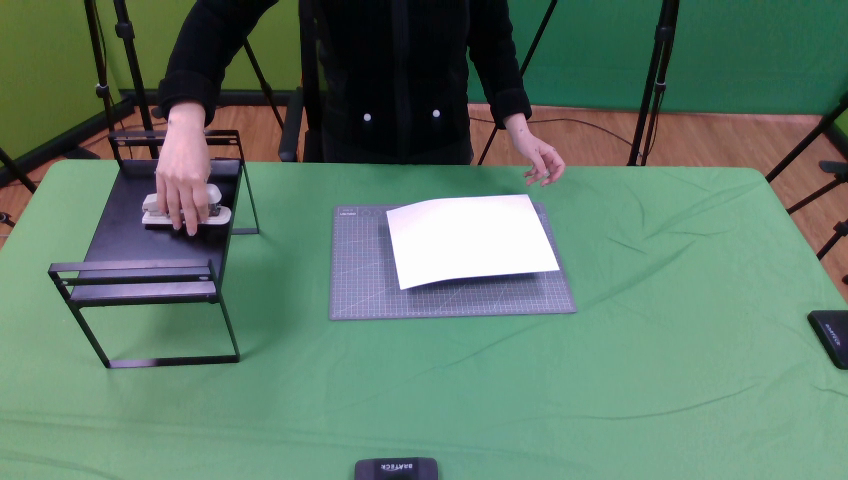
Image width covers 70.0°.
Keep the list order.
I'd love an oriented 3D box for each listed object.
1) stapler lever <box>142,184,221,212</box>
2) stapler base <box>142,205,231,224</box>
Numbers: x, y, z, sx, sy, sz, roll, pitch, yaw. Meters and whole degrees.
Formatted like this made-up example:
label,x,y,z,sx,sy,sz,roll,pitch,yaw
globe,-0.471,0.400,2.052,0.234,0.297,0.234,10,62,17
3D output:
label,x,y,z,sx,sy,sz,roll,pitch,yaw
stapler lever,-0.377,-0.066,0.943,0.118,0.040,0.026,-1,35,-4
stapler base,-0.376,-0.046,0.958,0.131,0.024,0.041,-2,35,-4
